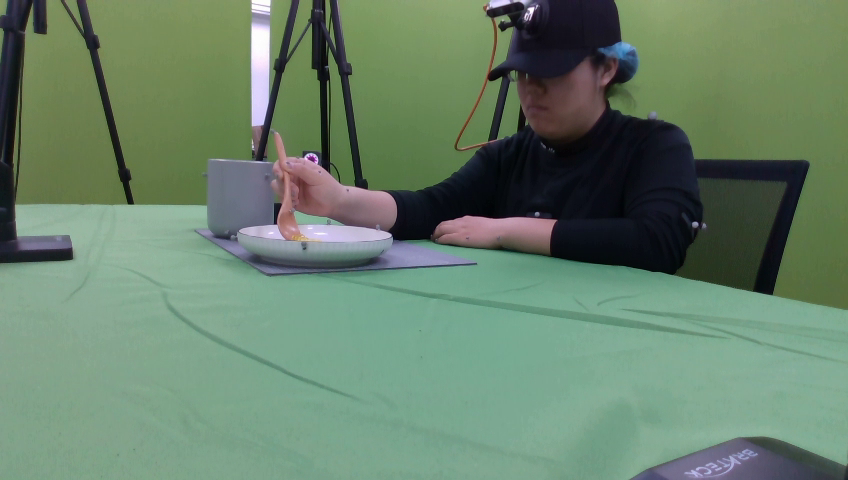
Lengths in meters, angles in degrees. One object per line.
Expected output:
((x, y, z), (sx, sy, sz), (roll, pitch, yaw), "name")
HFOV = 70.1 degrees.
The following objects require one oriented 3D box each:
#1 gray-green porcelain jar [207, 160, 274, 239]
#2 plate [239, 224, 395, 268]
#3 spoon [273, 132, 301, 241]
((-0.304, -0.068, 1.003), (0.106, 0.126, 0.106), (3, 7, 0), "gray-green porcelain jar")
((-0.144, 0.007, 0.823), (0.208, 0.039, 0.207), (3, 7, 0), "plate")
((-0.197, -0.076, 0.856), (0.021, 0.193, 0.042), (-26, -29, 29), "spoon")
